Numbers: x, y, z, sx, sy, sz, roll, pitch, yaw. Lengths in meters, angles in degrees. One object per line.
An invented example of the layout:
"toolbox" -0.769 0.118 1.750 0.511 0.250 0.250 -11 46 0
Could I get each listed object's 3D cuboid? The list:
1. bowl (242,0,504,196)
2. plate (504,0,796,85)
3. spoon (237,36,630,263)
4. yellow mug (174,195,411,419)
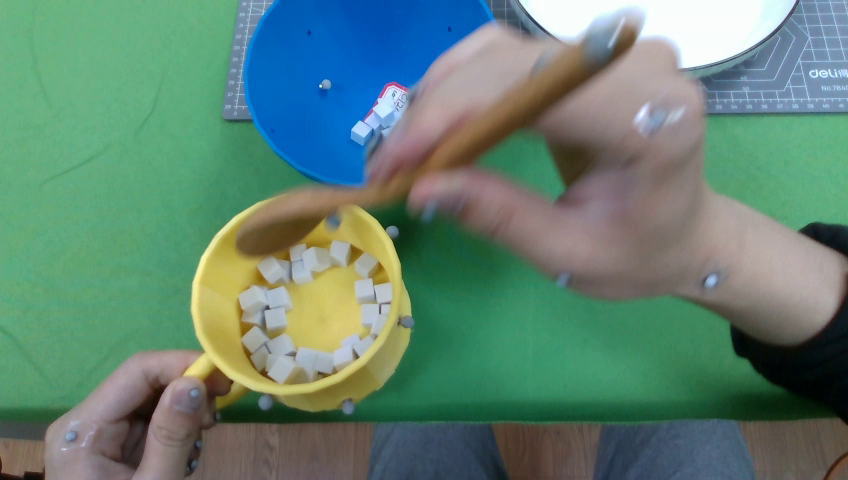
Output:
"bowl" -0.027 -0.087 0.380 0.151 0.077 0.150 -1 74 3
"plate" 0.152 -0.194 0.429 0.209 0.038 0.207 -1 70 3
"spoon" -0.014 -0.017 0.198 0.042 0.193 0.021 -16 90 -39
"yellow mug" -0.070 0.045 0.310 0.131 0.064 0.099 -41 73 -12
